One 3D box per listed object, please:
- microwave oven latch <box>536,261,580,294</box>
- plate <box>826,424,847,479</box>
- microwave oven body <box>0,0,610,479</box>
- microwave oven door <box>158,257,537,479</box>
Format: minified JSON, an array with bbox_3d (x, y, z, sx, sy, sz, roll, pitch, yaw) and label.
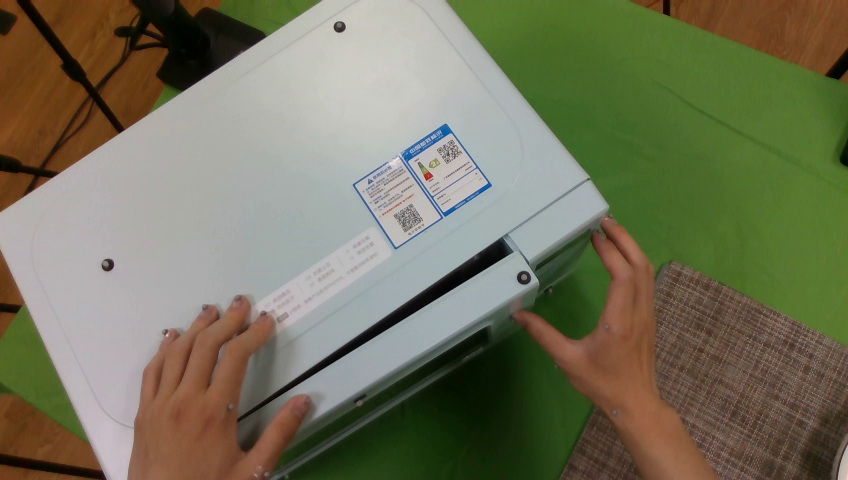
[{"bbox_3d":[0.134,0.037,0.673,0.079,0.029,0.030,-33,75,-1],"label":"microwave oven latch"},{"bbox_3d":[0.499,0.254,0.589,0.207,0.039,0.206,-2,76,6],"label":"plate"},{"bbox_3d":[-0.106,-0.005,0.612,0.442,0.261,0.324,-34,75,-2],"label":"microwave oven body"},{"bbox_3d":[-0.057,0.140,0.564,0.356,0.245,0.039,-31,73,-2],"label":"microwave oven door"}]
